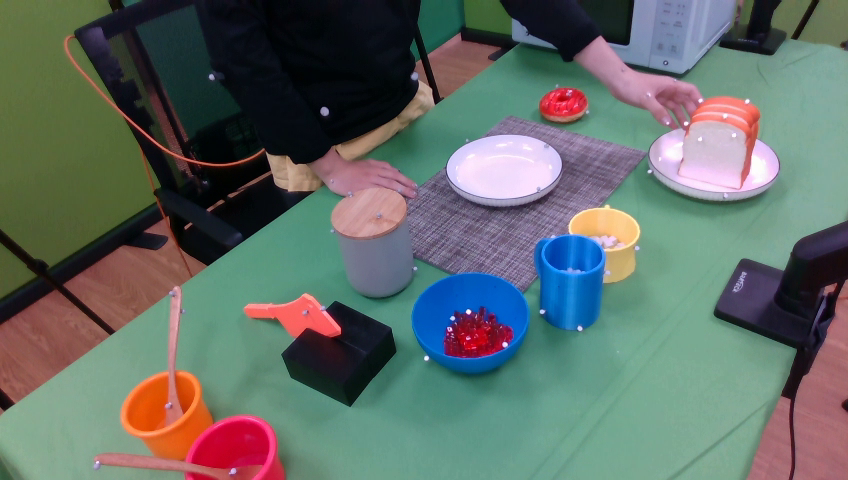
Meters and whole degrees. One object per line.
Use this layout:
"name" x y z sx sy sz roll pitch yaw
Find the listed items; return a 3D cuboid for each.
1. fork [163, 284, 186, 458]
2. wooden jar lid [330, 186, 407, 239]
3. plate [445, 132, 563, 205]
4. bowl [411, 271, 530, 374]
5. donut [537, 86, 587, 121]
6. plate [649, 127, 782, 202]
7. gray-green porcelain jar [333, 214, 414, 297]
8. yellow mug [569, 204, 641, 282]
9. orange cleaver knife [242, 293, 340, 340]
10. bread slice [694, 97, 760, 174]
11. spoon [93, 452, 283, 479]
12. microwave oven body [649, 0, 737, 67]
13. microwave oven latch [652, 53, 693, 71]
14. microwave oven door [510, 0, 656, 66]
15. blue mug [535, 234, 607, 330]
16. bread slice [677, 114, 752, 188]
"fork" -0.302 0.157 0.733 0.028 0.019 0.207 -4 84 16
"wooden jar lid" -0.077 -0.035 0.846 0.108 0.021 0.108 -5 41 5
"plate" 0.142 -0.123 1.076 0.209 0.038 0.208 -4 41 4
"bowl" 0.062 0.120 0.780 0.151 0.077 0.150 -4 40 4
"donut" 0.283 -0.280 1.240 0.099 0.048 0.098 -5 43 5
"plate" 0.493 -0.127 1.036 0.207 0.039 0.206 -4 41 4
"gray-green porcelain jar" -0.071 0.012 0.887 0.106 0.127 0.105 -4 41 4
"yellow mug" 0.268 -0.005 0.904 0.099 0.064 0.130 7 41 15
"orange cleaver knife" -0.185 0.107 0.827 0.210 0.077 0.012 -9 29 48
"bread slice" 0.497 -0.173 1.004 0.106 0.135 0.018 23 51 26
"spoon" -0.240 0.239 0.632 0.195 0.021 0.041 26 33 -32
"microwave oven body" 0.475 -0.602 1.411 0.438 0.261 0.327 23 50 32
"microwave oven latch" 0.533 -0.387 1.301 0.078 0.029 0.030 30 53 36
"microwave oven door" 0.350 -0.539 1.349 0.353 0.245 0.039 24 50 31
"blue mug" 0.191 0.048 0.824 0.082 0.106 0.115 -26 44 -20
"bread slice" 0.467 -0.144 0.976 0.104 0.132 0.019 18 55 30
